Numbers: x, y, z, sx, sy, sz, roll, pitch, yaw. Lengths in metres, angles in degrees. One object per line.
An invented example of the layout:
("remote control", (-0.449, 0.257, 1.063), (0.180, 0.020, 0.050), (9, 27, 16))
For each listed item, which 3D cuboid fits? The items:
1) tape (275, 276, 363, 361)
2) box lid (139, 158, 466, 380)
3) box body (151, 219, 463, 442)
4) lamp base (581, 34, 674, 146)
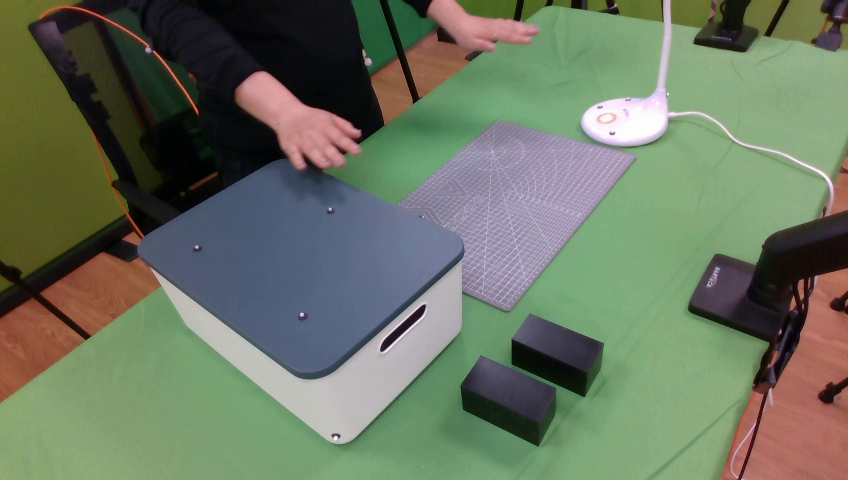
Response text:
("tape", (-0.143, 0.107, 0.831), (0.117, 0.053, 0.116), (-4, 41, 4))
("box lid", (-0.158, 0.010, 0.757), (0.368, 0.015, 0.264), (26, 50, 33))
("box body", (-0.152, 0.064, 0.807), (0.361, 0.161, 0.255), (26, 51, 33))
("lamp base", (0.392, -0.291, 1.129), (0.180, 0.181, 0.159), (-11, 41, -8))
